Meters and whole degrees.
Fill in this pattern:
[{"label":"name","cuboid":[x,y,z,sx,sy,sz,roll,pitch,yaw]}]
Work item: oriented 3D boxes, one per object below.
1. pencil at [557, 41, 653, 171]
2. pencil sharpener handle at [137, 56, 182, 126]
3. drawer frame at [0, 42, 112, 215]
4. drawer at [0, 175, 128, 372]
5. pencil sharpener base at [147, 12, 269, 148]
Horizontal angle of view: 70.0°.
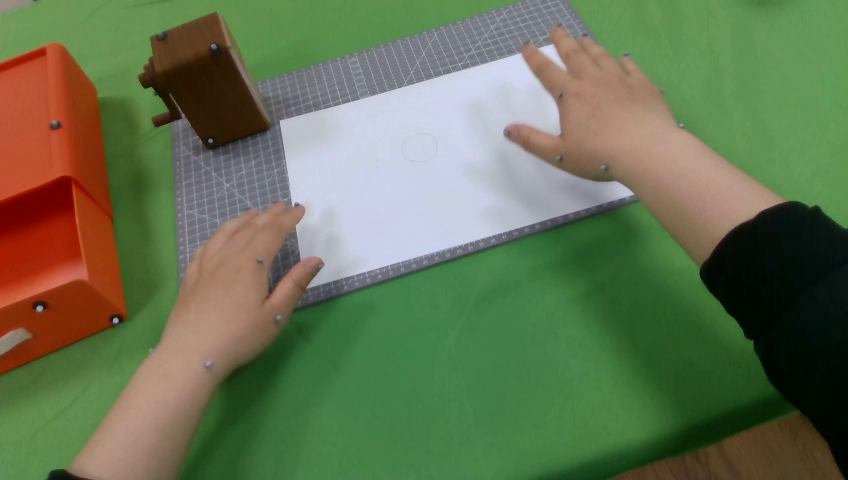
[{"label":"pencil","cuboid":[0.166,-0.134,0.574,0.012,0.012,0.192,-18,54,-2]},{"label":"pencil sharpener handle","cuboid":[-0.258,-0.139,0.577,0.030,0.068,0.035,-22,53,-4]},{"label":"drawer frame","cuboid":[-0.428,-0.074,0.595,0.202,0.083,0.211,-24,55,-6]},{"label":"drawer","cuboid":[-0.381,0.013,0.533,0.194,0.074,0.209,-24,56,-6]},{"label":"pencil sharpener base","cuboid":[-0.209,-0.152,0.591,0.077,0.108,0.060,-22,56,-5]}]
